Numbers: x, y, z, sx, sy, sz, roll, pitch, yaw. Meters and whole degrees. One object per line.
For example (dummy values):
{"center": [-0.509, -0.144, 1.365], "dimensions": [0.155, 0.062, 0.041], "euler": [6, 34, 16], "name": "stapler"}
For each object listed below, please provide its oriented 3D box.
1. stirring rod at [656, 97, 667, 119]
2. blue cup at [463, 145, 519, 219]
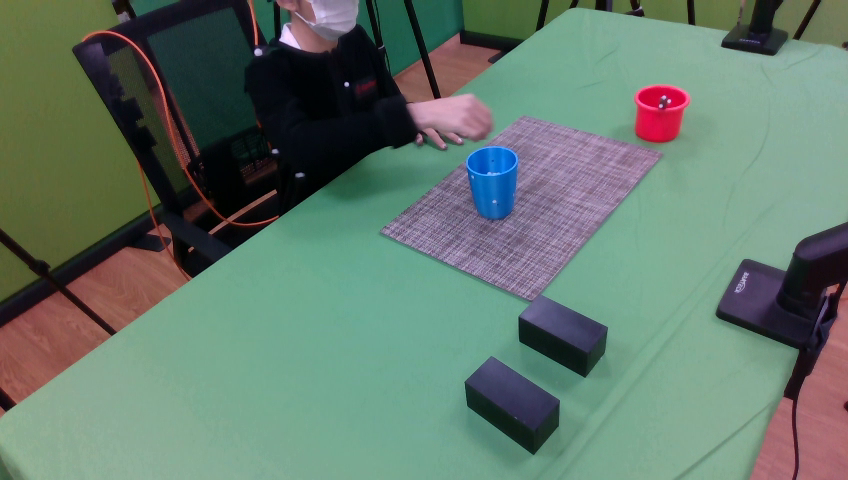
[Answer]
{"center": [0.432, -0.239, 1.102], "dimensions": [0.014, 0.006, 0.177], "euler": [4, 2, 19], "name": "stirring rod"}
{"center": [0.115, -0.090, 0.997], "dimensions": [0.092, 0.101, 0.092], "euler": [-5, 41, 5], "name": "blue cup"}
